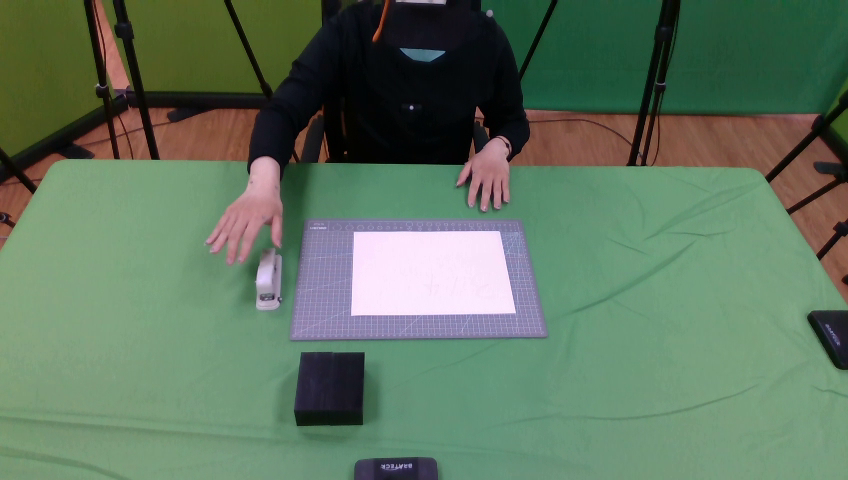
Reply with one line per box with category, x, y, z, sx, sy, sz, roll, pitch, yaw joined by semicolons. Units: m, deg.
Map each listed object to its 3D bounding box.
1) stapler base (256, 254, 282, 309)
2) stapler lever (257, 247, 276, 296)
stapler base;-0.284;0.069;1.107;0.041;0.024;0.129;-1;45;-9
stapler lever;-0.283;0.050;1.090;0.027;0.040;0.117;-1;45;-9
